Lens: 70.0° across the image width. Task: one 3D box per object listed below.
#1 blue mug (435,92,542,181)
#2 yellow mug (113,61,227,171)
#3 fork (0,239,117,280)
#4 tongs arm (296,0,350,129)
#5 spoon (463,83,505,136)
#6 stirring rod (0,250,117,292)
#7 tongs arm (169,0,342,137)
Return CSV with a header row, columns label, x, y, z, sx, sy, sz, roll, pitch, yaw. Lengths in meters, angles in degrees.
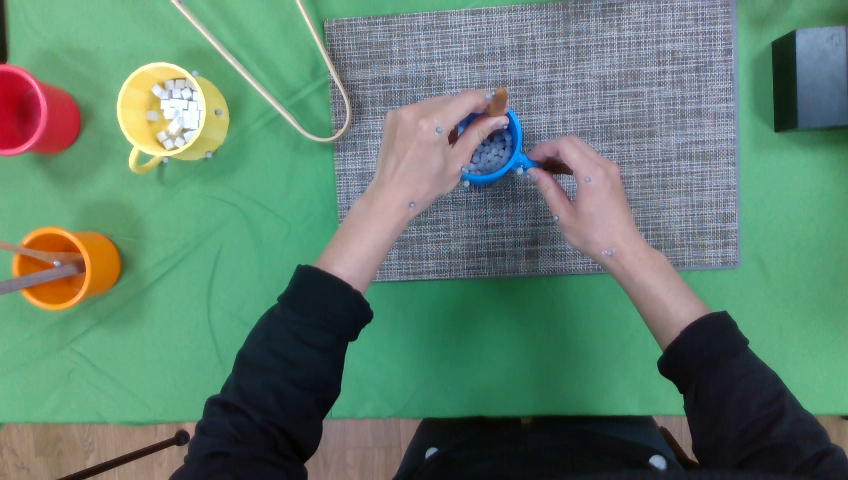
label,x,y,z,sx,sy,sz,roll,pitch,yaw
blue mug,0.070,-0.098,0.638,0.116,0.106,0.082,26,95,1
yellow mug,-0.291,-0.131,0.681,0.100,0.064,0.131,36,97,0
fork,-0.444,0.007,0.659,0.209,0.018,0.028,24,91,-42
tongs arm,-0.170,-0.302,0.657,0.028,0.027,0.388,-28,99,-3
spoon,0.060,-0.117,0.559,0.041,0.193,0.021,-8,94,1
stirring rod,-0.433,0.041,0.667,0.176,0.006,0.014,-20,89,-37
tongs arm,-0.238,-0.253,0.662,0.051,0.026,0.386,-41,98,2
